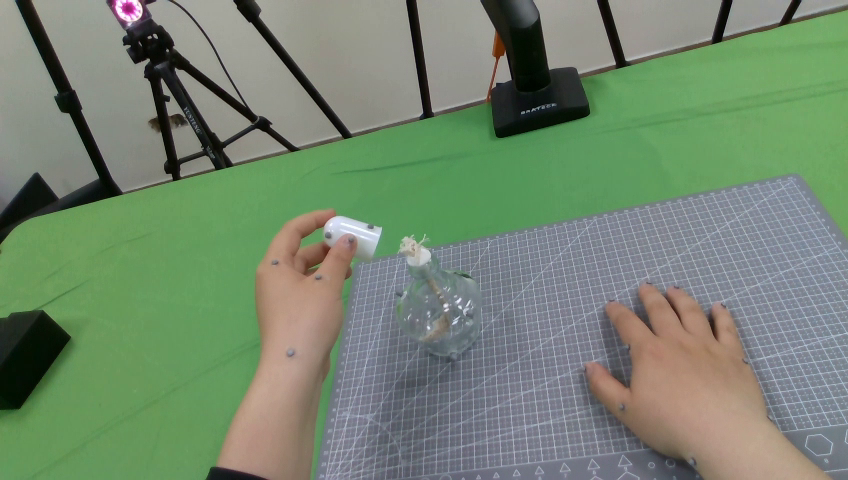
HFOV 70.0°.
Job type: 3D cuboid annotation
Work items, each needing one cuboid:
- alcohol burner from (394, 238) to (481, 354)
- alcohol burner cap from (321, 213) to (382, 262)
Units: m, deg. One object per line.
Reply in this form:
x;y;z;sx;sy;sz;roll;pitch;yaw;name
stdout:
0.007;0.042;0.515;0.078;0.120;0.077;-11;41;10;alcohol burner
-0.059;-0.005;0.490;0.048;0.034;0.033;19;42;-10;alcohol burner cap
